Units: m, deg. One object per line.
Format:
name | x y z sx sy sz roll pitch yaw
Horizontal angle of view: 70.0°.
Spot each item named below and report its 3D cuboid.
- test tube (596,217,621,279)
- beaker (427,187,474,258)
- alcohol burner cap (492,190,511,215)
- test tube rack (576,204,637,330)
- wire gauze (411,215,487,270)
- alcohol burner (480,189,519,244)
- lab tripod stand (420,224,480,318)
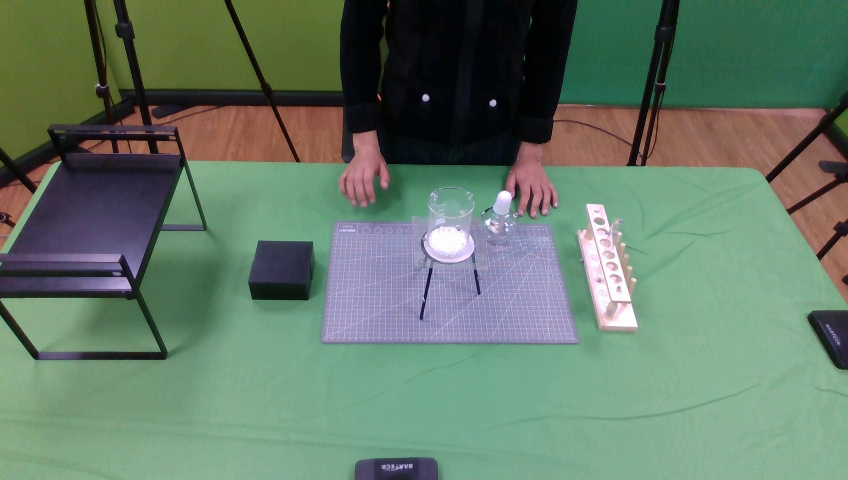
test tube | 0.331 0.018 1.094 0.017 0.151 0.017 0 45 0
beaker | 0.043 -0.027 0.989 0.084 0.101 0.073 -27 53 -26
alcohol burner cap | 0.151 -0.076 1.165 0.034 0.048 0.033 5 49 -6
test tube rack | 0.348 0.045 1.139 0.067 0.085 0.241 2 46 -2
wire gauze | 0.041 0.003 1.026 0.125 0.011 0.120 0 46 -1
alcohol burner | 0.150 -0.050 1.191 0.078 0.120 0.077 1 46 -1
lab tripod stand | 0.034 0.052 1.071 0.148 0.132 0.147 3 48 -3
